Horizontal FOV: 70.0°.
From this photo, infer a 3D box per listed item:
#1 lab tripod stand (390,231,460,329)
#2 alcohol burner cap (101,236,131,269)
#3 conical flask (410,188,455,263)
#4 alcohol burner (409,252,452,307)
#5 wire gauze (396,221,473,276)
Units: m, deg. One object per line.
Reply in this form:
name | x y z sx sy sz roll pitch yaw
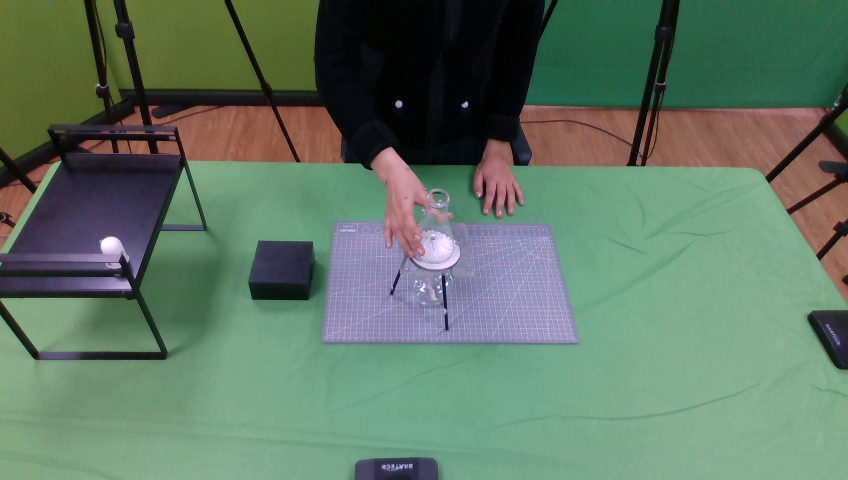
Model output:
lab tripod stand | 0.015 0.063 1.058 0.148 0.132 0.147 4 46 -4
alcohol burner cap | -0.452 0.016 0.883 0.034 0.048 0.033 2 45 -2
conical flask | 0.017 -0.027 0.971 0.075 0.122 0.075 3 48 -3
alcohol burner | 0.013 0.063 1.072 0.078 0.119 0.077 4 45 -3
wire gauze | 0.016 0.014 1.014 0.125 0.011 0.120 -1 45 -3
